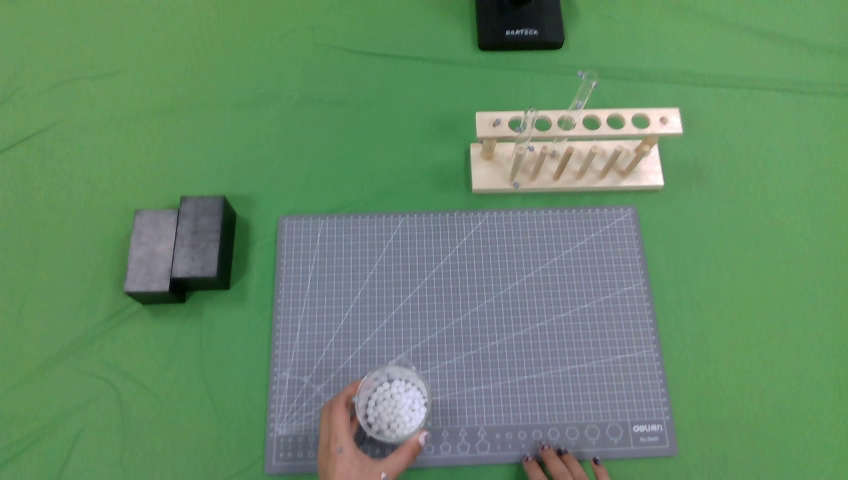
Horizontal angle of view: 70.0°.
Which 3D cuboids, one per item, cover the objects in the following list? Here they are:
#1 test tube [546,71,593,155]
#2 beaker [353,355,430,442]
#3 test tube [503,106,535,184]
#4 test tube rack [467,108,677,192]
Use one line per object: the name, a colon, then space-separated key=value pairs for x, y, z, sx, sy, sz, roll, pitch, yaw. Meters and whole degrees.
test tube: x=0.167 y=-0.143 z=0.709 sx=0.017 sy=0.151 sz=0.017 roll=2 pitch=66 yaw=-3
beaker: x=-0.032 y=0.169 z=0.631 sx=0.074 sy=0.101 sz=0.083 roll=11 pitch=69 yaw=3
test tube: x=0.108 y=-0.106 z=0.699 sx=0.017 sy=0.151 sz=0.017 roll=0 pitch=67 yaw=0
test tube rack: x=0.178 y=-0.109 z=0.750 sx=0.242 sy=0.086 sz=0.066 roll=-1 pitch=69 yaw=-2
